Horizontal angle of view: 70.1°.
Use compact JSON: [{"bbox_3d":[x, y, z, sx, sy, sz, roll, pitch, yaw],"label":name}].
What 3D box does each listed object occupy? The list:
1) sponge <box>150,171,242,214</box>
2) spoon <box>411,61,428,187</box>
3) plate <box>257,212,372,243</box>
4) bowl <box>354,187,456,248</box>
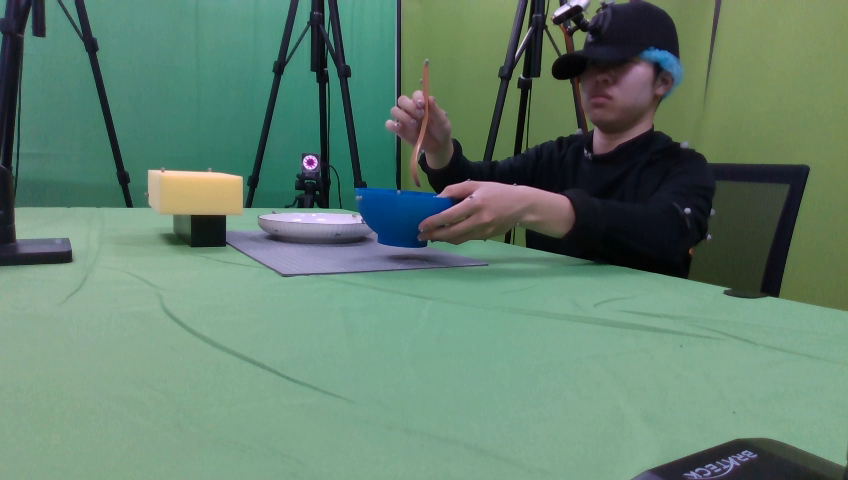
[{"bbox_3d":[-0.379,-0.080,0.994,0.119,0.061,0.206,-1,8,-29],"label":"sponge"},{"bbox_3d":[-0.003,-0.179,0.936,0.021,0.193,0.041,7,2,1],"label":"spoon"},{"bbox_3d":[-0.189,-0.023,1.072,0.209,0.038,0.209,3,7,0],"label":"plate"},{"bbox_3d":[-0.030,-0.032,0.881,0.151,0.077,0.151,5,7,0],"label":"bowl"}]
